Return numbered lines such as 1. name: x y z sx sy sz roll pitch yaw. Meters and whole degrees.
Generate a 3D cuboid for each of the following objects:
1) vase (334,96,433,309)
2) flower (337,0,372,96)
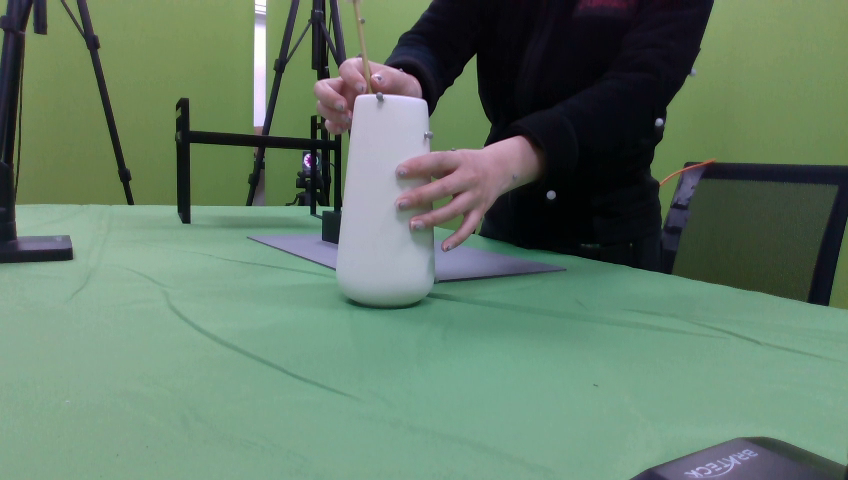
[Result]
1. vase: -0.039 -0.036 0.589 0.098 0.200 0.098 1 8 0
2. flower: -0.051 -0.119 0.586 0.044 0.361 0.038 -9 -6 -19
